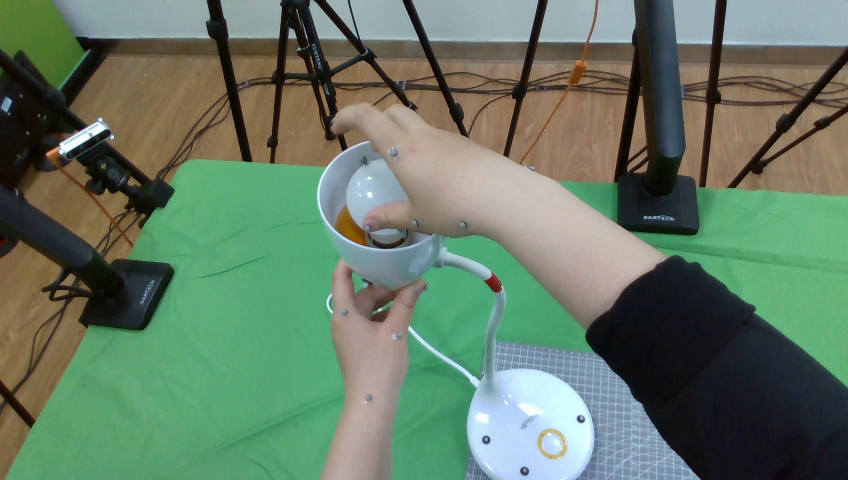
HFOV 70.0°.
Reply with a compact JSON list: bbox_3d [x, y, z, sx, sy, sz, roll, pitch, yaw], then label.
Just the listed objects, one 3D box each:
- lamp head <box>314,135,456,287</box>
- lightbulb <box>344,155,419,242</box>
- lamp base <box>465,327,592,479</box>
[{"bbox_3d":[-0.027,-0.011,0.523,0.112,0.124,0.111,-3,57,4],"label":"lamp head"},{"bbox_3d":[-0.034,-0.026,0.497,0.059,0.108,0.059,1,64,-1],"label":"lightbulb"},{"bbox_3d":[0.113,0.183,0.720,0.177,0.182,0.160,28,62,29],"label":"lamp base"}]
